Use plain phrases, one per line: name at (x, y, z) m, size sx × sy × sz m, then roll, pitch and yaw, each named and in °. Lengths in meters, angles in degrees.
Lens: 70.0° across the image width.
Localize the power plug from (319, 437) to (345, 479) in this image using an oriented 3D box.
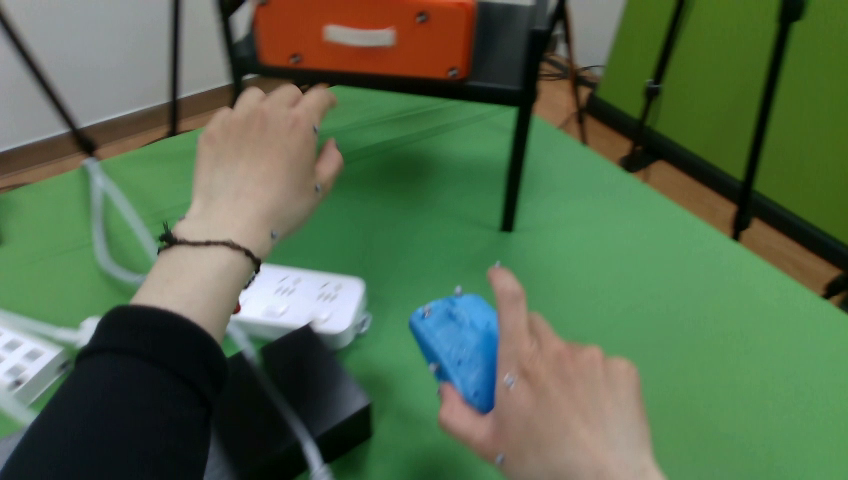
power plug at (-0.068, 0.191, 0.449) m, size 0.035 × 0.053 × 0.072 m, roll 11°, pitch 32°, yaw -9°

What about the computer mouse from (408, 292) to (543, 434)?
computer mouse at (0.034, 0.080, 0.433) m, size 0.063 × 0.041 × 0.116 m, roll -15°, pitch 43°, yaw -16°

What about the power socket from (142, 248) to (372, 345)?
power socket at (-0.164, 0.054, 0.597) m, size 0.226 × 0.033 × 0.071 m, roll 8°, pitch 43°, yaw 6°

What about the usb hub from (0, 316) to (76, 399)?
usb hub at (-0.383, 0.098, 0.546) m, size 0.124 × 0.025 × 0.049 m, roll 17°, pitch 46°, yaw 16°

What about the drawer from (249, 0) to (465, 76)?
drawer at (-0.053, -0.255, 0.630) m, size 0.194 × 0.074 × 0.210 m, roll 4°, pitch 43°, yaw 3°

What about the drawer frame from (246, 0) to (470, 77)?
drawer frame at (-0.053, -0.258, 0.631) m, size 0.202 × 0.083 × 0.211 m, roll 3°, pitch 43°, yaw 2°

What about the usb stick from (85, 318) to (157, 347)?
usb stick at (-0.280, 0.086, 0.562) m, size 0.059 × 0.021 × 0.027 m, roll 5°, pitch 87°, yaw -18°
